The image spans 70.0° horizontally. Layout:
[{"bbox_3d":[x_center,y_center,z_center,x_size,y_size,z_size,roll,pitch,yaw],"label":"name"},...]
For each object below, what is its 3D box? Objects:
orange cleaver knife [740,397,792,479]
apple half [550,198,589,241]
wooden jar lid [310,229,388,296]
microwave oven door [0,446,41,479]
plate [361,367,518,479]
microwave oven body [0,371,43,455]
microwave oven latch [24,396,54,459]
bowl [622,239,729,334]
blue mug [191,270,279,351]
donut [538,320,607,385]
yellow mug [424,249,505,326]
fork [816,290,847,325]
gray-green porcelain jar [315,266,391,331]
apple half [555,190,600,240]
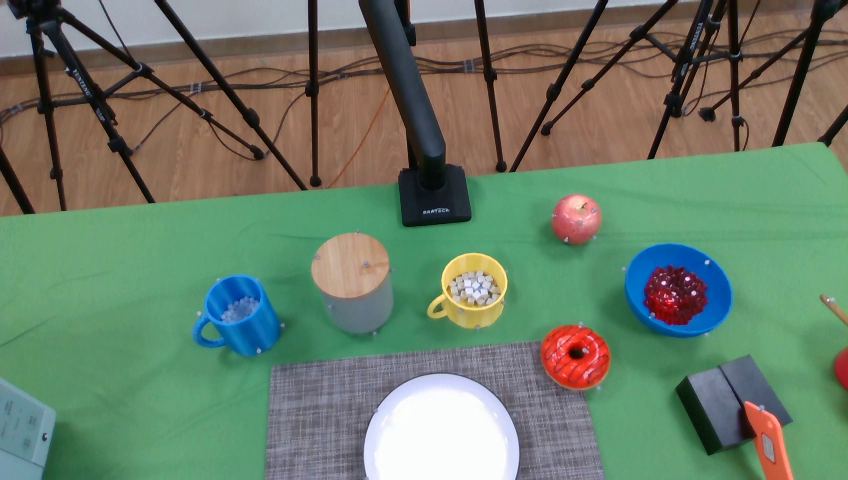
[{"bbox_3d":[0.448,0.304,0.762,0.012,0.077,0.210,-15,82,-5],"label":"orange cleaver knife"},{"bbox_3d":[0.227,-0.024,0.980,0.033,0.082,0.080,-32,62,-23],"label":"apple half"},{"bbox_3d":[-0.104,0.034,0.846,0.108,0.021,0.107,-1,55,2],"label":"wooden jar lid"},{"bbox_3d":[-0.513,0.381,0.614,0.039,0.246,0.352,-5,57,-2],"label":"microwave oven door"},{"bbox_3d":[0.020,0.274,0.811,0.208,0.039,0.205,0,58,1],"label":"plate"},{"bbox_3d":[-0.661,0.360,0.636,0.326,0.262,0.437,-4,58,-2],"label":"microwave oven body"},{"bbox_3d":[-0.526,0.253,0.817,0.030,0.030,0.078,-2,58,-1],"label":"microwave oven latch"},{"bbox_3d":[0.365,0.082,0.908,0.151,0.077,0.150,-1,58,1],"label":"bowl"},{"bbox_3d":[-0.280,0.112,0.885,0.116,0.107,0.081,-28,60,-15],"label":"blue mug"},{"bbox_3d":[0.214,0.162,0.876,0.099,0.048,0.098,0,58,1],"label":"donut"},{"bbox_3d":[0.059,0.079,0.924,0.131,0.064,0.099,-26,61,-14],"label":"yellow mug"},{"bbox_3d":[0.593,0.132,0.830,0.209,0.018,0.028,43,58,-22],"label":"fork"},{"bbox_3d":[-0.103,0.068,0.898,0.106,0.127,0.105,0,57,1],"label":"gray-green porcelain jar"},{"bbox_3d":[0.256,-0.045,0.995,0.053,0.075,0.080,-31,58,-24],"label":"apple half"}]
